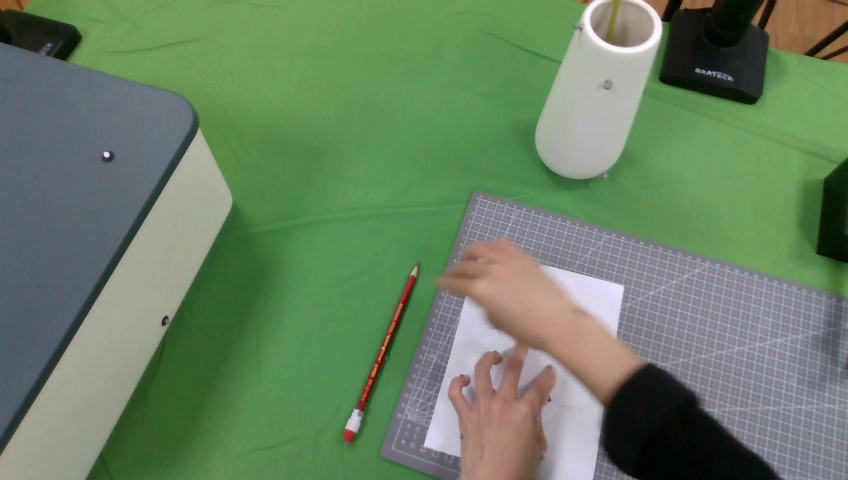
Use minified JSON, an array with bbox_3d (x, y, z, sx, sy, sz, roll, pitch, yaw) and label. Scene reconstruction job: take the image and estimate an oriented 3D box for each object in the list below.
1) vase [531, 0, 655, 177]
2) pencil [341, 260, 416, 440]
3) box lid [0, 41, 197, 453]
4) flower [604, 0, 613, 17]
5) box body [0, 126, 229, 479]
[{"bbox_3d":[0.167,-0.150,0.615,0.098,0.201,0.097,0,64,1],"label":"vase"},{"bbox_3d":[-0.042,0.104,0.605,0.012,0.012,0.193,18,66,9],"label":"pencil"},{"bbox_3d":[-0.374,-0.004,0.486,0.263,0.015,0.369,17,66,7],"label":"box lid"},{"bbox_3d":[0.164,-0.198,0.545,0.044,0.365,0.038,10,48,9],"label":"flower"},{"bbox_3d":[-0.374,0.030,0.553,0.253,0.161,0.362,17,67,8],"label":"box body"}]
